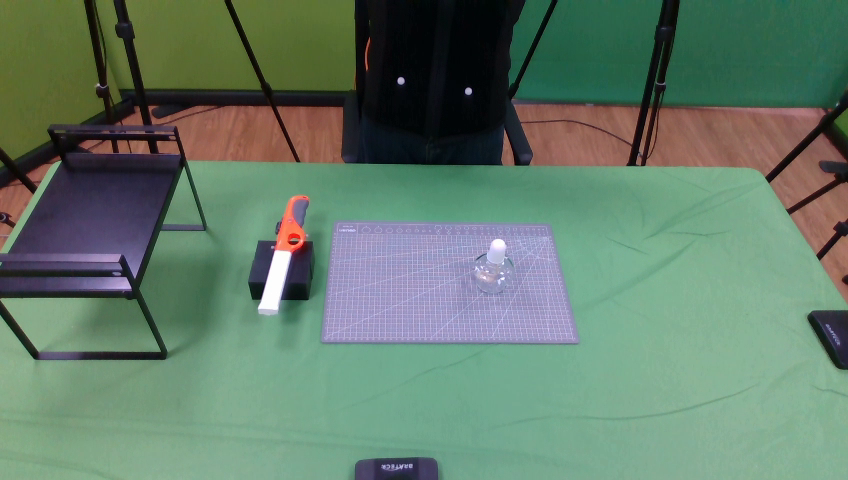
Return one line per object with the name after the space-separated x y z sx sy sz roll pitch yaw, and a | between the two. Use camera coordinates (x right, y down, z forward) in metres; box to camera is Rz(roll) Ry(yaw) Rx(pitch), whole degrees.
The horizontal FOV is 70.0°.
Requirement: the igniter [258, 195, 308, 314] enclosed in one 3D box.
-0.252 0.016 1.094 0.057 0.025 0.275 6 48 -3 | igniter

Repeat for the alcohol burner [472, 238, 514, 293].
0.128 0.041 1.101 0.078 0.120 0.077 1 47 -1 | alcohol burner

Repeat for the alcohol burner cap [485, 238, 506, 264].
0.129 0.017 1.076 0.034 0.048 0.033 3 53 -4 | alcohol burner cap
